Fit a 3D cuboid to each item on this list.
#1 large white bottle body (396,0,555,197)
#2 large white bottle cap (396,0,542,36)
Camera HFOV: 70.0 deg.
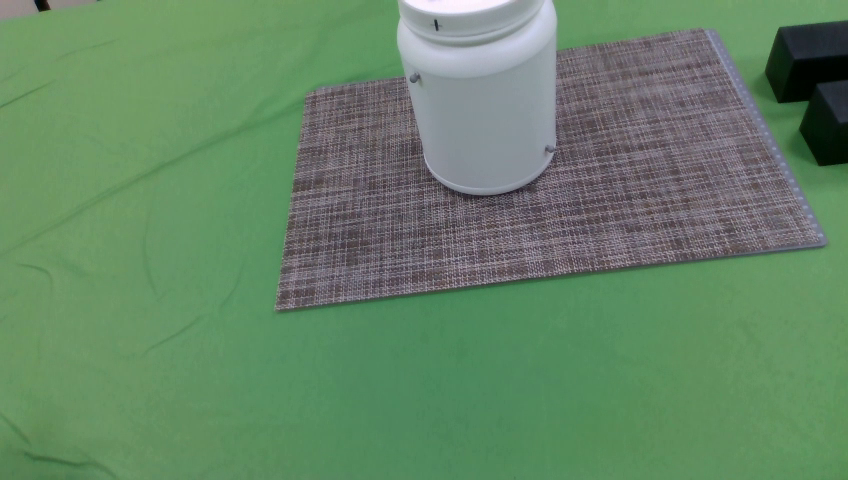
[{"bbox_3d":[0.048,-0.142,0.527,0.130,0.186,0.129,-6,52,7],"label":"large white bottle body"},{"bbox_3d":[0.035,-0.195,0.462,0.115,0.018,0.113,-5,51,7],"label":"large white bottle cap"}]
